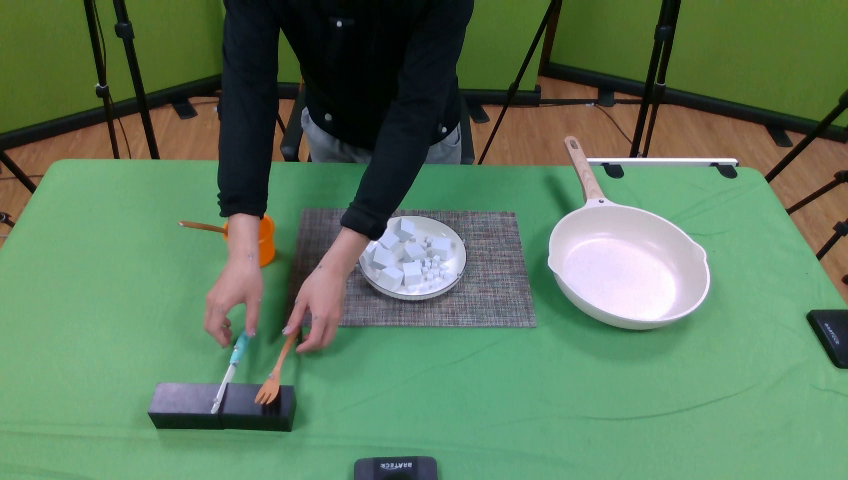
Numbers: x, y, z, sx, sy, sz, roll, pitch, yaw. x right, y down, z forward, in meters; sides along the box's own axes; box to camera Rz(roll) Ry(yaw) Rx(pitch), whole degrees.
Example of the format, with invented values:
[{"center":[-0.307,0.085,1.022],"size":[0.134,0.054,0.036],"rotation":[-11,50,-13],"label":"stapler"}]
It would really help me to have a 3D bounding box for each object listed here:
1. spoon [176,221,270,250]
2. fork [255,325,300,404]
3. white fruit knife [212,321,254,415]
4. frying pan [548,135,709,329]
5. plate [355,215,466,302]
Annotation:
[{"center":[-0.358,-0.012,1.093],"size":[0.021,0.195,0.041],"rotation":[-53,53,9],"label":"spoon"},{"center":[-0.226,0.192,0.956],"size":[0.028,0.019,0.206],"rotation":[-2,27,5],"label":"fork"},{"center":[-0.298,0.193,0.946],"size":[0.016,0.027,0.206],"rotation":[2,31,-1],"label":"white fruit knife"},{"center":[0.360,-0.033,1.200],"size":[0.307,0.103,0.484],"rotation":[-4,55,-9],"label":"frying pan"},{"center":[-0.025,0.038,1.144],"size":[0.208,0.039,0.206],"rotation":[2,46,-2],"label":"plate"}]
